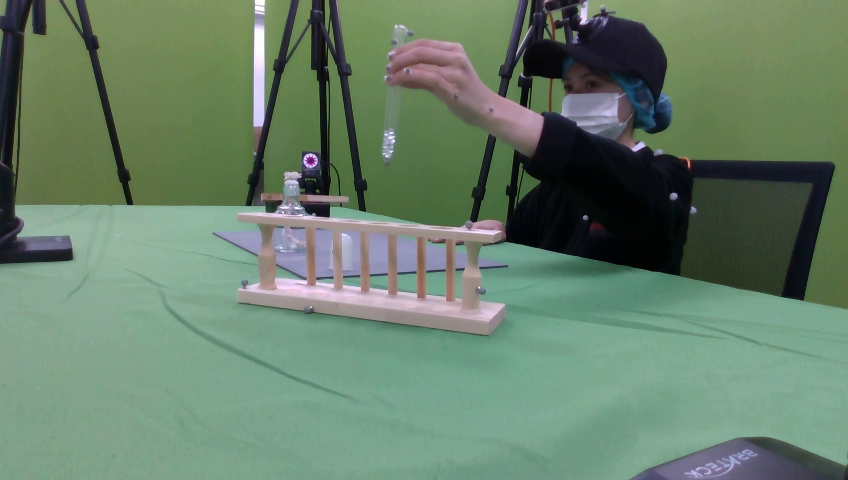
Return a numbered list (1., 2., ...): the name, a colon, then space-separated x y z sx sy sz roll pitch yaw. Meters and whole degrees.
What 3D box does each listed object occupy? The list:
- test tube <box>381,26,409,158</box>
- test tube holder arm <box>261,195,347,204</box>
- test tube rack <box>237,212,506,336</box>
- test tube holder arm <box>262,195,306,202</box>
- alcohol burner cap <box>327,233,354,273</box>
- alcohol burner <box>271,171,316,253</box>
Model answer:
1. test tube: -0.034 -0.169 0.692 0.017 0.150 0.017 7 1 0
2. test tube holder arm: -0.242 -0.083 1.232 0.179 0.015 0.013 -1 7 -32
3. test tube rack: -0.049 0.024 0.552 0.242 0.085 0.067 5 8 18
4. test tube holder arm: -0.278 -0.082 1.203 0.088 0.015 0.010 0 7 -30
5. alcohol burner cap: -0.104 0.016 0.752 0.034 0.048 0.034 3 6 0
6. alcohol burner: -0.196 -0.041 0.884 0.078 0.119 0.078 3 5 0
